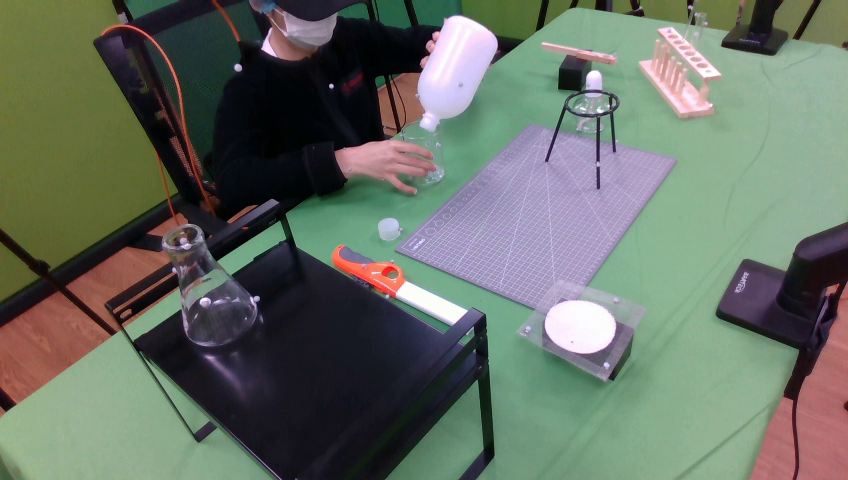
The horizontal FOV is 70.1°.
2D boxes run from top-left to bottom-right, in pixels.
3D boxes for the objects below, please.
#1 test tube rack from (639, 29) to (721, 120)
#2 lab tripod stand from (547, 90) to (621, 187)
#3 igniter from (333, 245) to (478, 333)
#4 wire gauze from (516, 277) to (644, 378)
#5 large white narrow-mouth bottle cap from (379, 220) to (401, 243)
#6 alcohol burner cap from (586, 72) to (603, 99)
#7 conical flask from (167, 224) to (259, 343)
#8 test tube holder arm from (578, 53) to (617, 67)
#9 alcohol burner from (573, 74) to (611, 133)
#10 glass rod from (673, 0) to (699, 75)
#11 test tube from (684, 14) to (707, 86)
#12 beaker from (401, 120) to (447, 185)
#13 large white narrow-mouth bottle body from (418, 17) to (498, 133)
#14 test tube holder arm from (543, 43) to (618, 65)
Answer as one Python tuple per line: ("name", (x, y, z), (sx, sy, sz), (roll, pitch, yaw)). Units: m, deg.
("test tube rack", (0.527, -0.351, 1.262), (0.067, 0.085, 0.241), (-8, 40, 1))
("lab tripod stand", (0.289, -0.184, 1.062), (0.148, 0.132, 0.147), (-6, 41, 6))
("igniter", (-0.038, 0.068, 0.905), (0.274, 0.025, 0.057), (24, 60, 32))
("wire gauze", (0.197, 0.103, 0.765), (0.124, 0.011, 0.122), (23, 50, 32))
("large white narrow-mouth bottle cap", (-0.057, -0.015, 1.012), (0.038, 0.024, 0.037), (-4, 40, 4))
("alcohol burner cap", (0.325, -0.297, 1.154), (0.034, 0.048, 0.033), (-8, 35, 6))
("conical flask", (-0.220, 0.041, 0.613), (0.075, 0.122, 0.075), (-5, 40, 4))
("test tube holder arm", (0.376, -0.393, 1.314), (0.087, 0.015, 0.010), (26, 51, 32))
("alcohol burner", (0.330, -0.270, 1.177), (0.078, 0.119, 0.077), (-4, 43, 4))
("glass rod", (0.541, -0.427, 1.246), (0.008, 0.200, 0.008), (0, 48, 1))
("test tube", (0.541, -0.379, 1.216), (0.017, 0.151, 0.017), (-2, 44, 2))
("beaker", (0.004, -0.160, 1.109), (0.073, 0.101, 0.084), (8, 39, 22))
("large white narrow-mouth bottle body", (0.047, -0.283, 1.071), (0.101, 0.103, 0.194), (31, 98, 37))
("test tube holder arm", (0.345, -0.413, 1.341), (0.177, 0.015, 0.013), (25, 50, 31))
